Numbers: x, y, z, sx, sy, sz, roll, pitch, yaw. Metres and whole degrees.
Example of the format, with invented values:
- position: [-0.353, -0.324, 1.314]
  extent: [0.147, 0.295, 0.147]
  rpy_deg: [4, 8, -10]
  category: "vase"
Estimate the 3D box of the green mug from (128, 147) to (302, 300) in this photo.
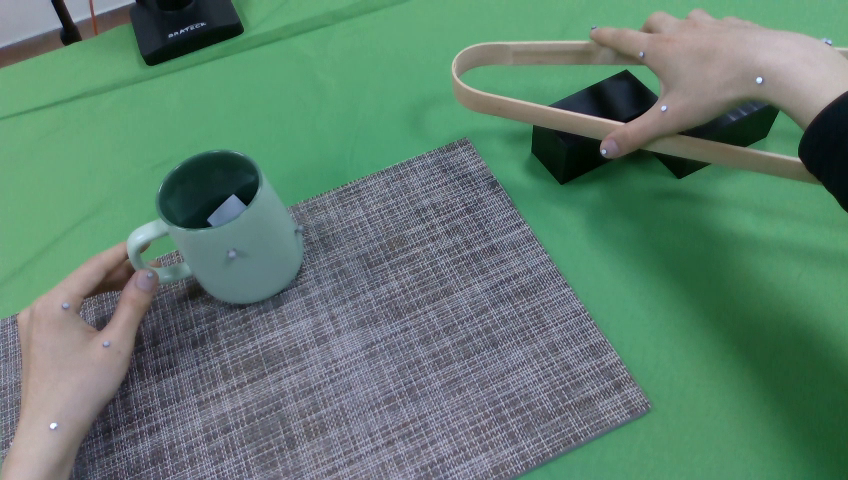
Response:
- position: [-0.168, -0.004, 0.484]
  extent: [0.125, 0.106, 0.091]
  rpy_deg: [-24, 57, -10]
  category: "green mug"

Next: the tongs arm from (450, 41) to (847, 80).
- position: [0.217, -0.151, 0.532]
  extent: [0.384, 0.027, 0.050]
  rpy_deg: [5, 62, 8]
  category: "tongs arm"

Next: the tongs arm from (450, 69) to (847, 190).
- position: [0.200, -0.085, 0.495]
  extent: [0.386, 0.028, 0.028]
  rpy_deg: [15, 67, 14]
  category: "tongs arm"
